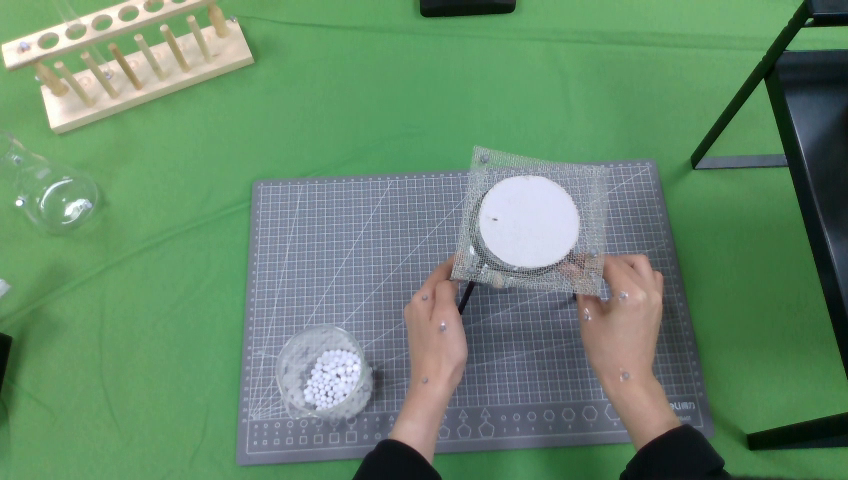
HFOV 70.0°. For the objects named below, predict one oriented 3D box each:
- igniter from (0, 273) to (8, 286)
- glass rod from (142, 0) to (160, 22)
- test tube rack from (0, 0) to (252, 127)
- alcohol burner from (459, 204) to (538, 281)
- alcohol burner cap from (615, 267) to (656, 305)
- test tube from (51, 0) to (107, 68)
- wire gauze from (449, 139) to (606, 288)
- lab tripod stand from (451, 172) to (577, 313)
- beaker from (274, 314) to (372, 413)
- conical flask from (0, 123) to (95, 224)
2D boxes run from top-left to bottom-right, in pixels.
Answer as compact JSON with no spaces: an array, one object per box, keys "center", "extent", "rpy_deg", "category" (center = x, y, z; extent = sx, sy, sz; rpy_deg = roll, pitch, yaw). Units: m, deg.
[{"center":[-0.479,0.139,0.535],"extent":[0.057,0.025,0.275],"rpy_deg":[24,70,20],"category":"igniter"},{"center":[-0.313,-0.279,0.641],"extent":[0.008,0.201,0.008],"rpy_deg":[-3,63,7],"category":"glass rod"},{"center":[-0.333,-0.220,0.690],"extent":[0.242,0.086,0.066],"rpy_deg":[-23,70,-8],"category":"test tube rack"},{"center":[0.074,-0.004,0.585],"extent":[0.078,0.120,0.077],"rpy_deg":[0,68,0],"category":"alcohol burner"},{"center":[0.213,0.043,0.603],"extent":[0.034,0.048,0.033],"rpy_deg":[0,69,1],"category":"alcohol burner cap"},{"center":[-0.377,-0.240,0.645],"extent":[0.017,0.151,0.017],"rpy_deg":[0,62,0],"category":"test tube"},{"center":[0.090,-0.024,0.509],"extent":[0.121,0.011,0.124],"rpy_deg":[9,70,3],"category":"wire gauze"},{"center":[0.085,0.005,0.570],"extent":[0.148,0.132,0.147],"rpy_deg":[0,67,0],"category":"lab tripod stand"},{"center":[-0.088,0.119,0.547],"extent":[0.074,0.101,0.083],"rpy_deg":[25,72,11],"category":"beaker"},{"center":[-0.400,-0.072,0.614],"extent":[0.075,0.122,0.075],"rpy_deg":[0,68,1],"category":"conical flask"}]
